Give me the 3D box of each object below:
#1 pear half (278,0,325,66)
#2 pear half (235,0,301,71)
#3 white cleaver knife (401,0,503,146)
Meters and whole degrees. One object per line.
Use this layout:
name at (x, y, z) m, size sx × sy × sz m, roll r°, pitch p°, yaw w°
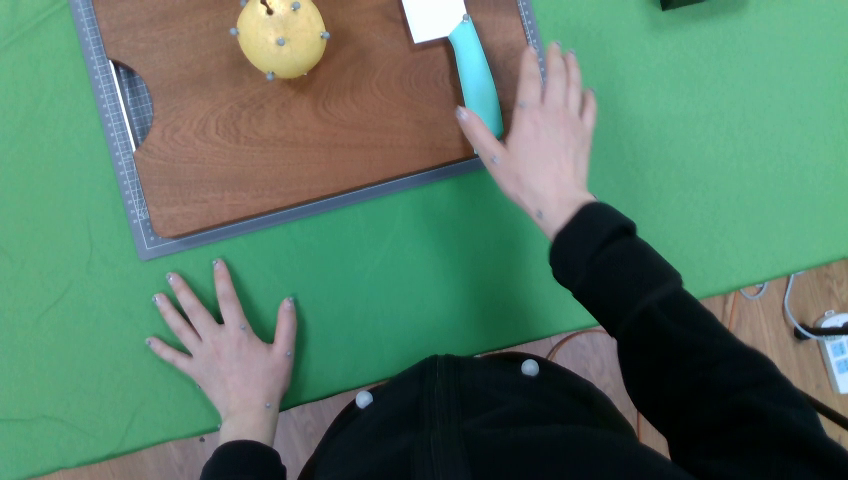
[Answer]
pear half at (-0.107, -0.197, 0.546) m, size 0.031 × 0.088 × 0.070 m, roll -13°, pitch 85°, yaw -2°
pear half at (-0.141, -0.192, 0.535) m, size 0.056 × 0.110 × 0.076 m, roll -13°, pitch 85°, yaw -1°
white cleaver knife at (0.013, -0.227, 0.589) m, size 0.066 × 0.021 × 0.285 m, roll -16°, pitch 85°, yaw 4°
